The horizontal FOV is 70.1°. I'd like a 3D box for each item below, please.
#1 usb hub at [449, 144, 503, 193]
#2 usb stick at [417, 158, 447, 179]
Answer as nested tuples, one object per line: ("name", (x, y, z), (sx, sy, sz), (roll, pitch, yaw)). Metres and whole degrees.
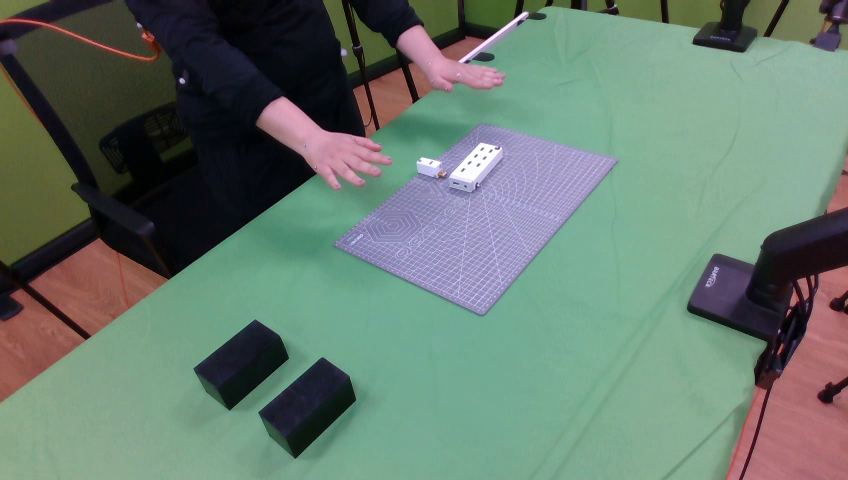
("usb hub", (0.096, -0.132, 1.105), (0.049, 0.025, 0.125), (18, 47, 27))
("usb stick", (0.016, -0.130, 1.114), (0.059, 0.027, 0.021), (21, 44, 25))
